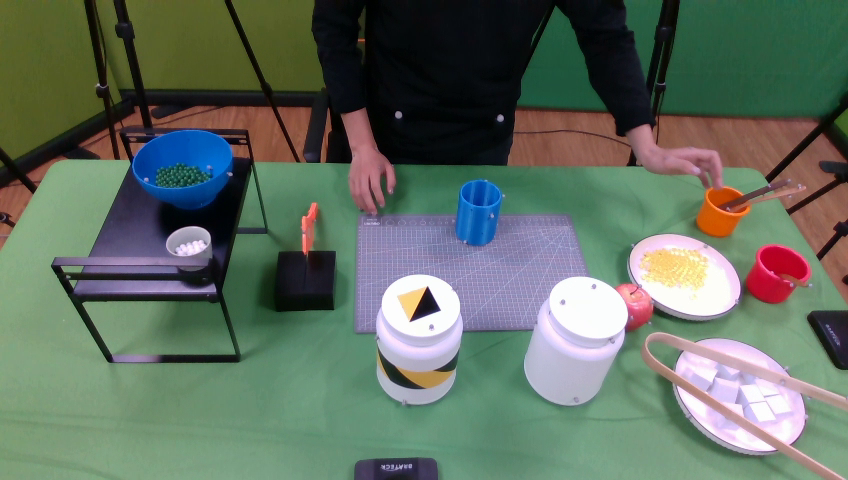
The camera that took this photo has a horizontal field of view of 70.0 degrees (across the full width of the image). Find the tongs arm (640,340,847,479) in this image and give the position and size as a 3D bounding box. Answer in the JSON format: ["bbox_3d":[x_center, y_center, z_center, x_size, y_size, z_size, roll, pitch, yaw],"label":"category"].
[{"bbox_3d":[0.500,0.277,0.919,0.386,0.028,0.028,34,59,22],"label":"tongs arm"}]

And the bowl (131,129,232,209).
[{"bbox_3d":[-0.381,-0.103,0.978,0.151,0.077,0.150,2,46,-2],"label":"bowl"}]

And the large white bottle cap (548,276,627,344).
[{"bbox_3d":[0.240,0.100,0.890,0.115,0.018,0.114,3,47,-3],"label":"large white bottle cap"}]

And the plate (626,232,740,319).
[{"bbox_3d":[0.488,0.071,1.157,0.209,0.038,0.208,3,46,-2],"label":"plate"}]

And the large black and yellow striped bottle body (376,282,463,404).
[{"bbox_3d":[-0.010,0.155,0.937,0.131,0.185,0.130,2,47,-2],"label":"large black and yellow striped bottle body"}]

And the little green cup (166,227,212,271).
[{"bbox_3d":[-0.344,0.014,0.895,0.061,0.039,0.061,3,46,-3],"label":"little green cup"}]

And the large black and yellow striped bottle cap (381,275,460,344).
[{"bbox_3d":[-0.005,0.098,0.875,0.115,0.019,0.114,2,45,-1],"label":"large black and yellow striped bottle cap"}]

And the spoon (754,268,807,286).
[{"bbox_3d":[0.647,0.065,1.100,0.041,0.021,0.194,15,3,10],"label":"spoon"}]

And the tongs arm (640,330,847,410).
[{"bbox_3d":[0.543,0.225,0.969,0.384,0.026,0.050,22,52,13],"label":"tongs arm"}]

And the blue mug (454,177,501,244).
[{"bbox_3d":[0.106,-0.067,1.208,0.082,0.106,0.116,6,46,1],"label":"blue mug"}]

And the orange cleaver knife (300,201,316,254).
[{"bbox_3d":[-0.221,-0.027,1.160,0.012,0.077,0.210,-1,15,-4],"label":"orange cleaver knife"}]

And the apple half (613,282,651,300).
[{"bbox_3d":[0.356,0.109,1.086,0.081,0.075,0.053,-14,44,-12],"label":"apple half"}]

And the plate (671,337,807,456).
[{"bbox_3d":[0.503,0.254,0.984,0.208,0.039,0.206,2,46,-2],"label":"plate"}]

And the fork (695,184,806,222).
[{"bbox_3d":[0.658,-0.074,1.229,0.207,0.019,0.028,-24,34,36],"label":"fork"}]

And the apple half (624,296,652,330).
[{"bbox_3d":[0.368,0.135,1.060,0.081,0.081,0.032,-11,43,-15],"label":"apple half"}]

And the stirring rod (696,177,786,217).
[{"bbox_3d":[0.648,-0.087,1.244,0.176,0.006,0.014,-25,50,29],"label":"stirring rod"}]

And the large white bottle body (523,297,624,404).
[{"bbox_3d":[0.235,0.159,0.952,0.131,0.185,0.130,2,47,-2],"label":"large white bottle body"}]
